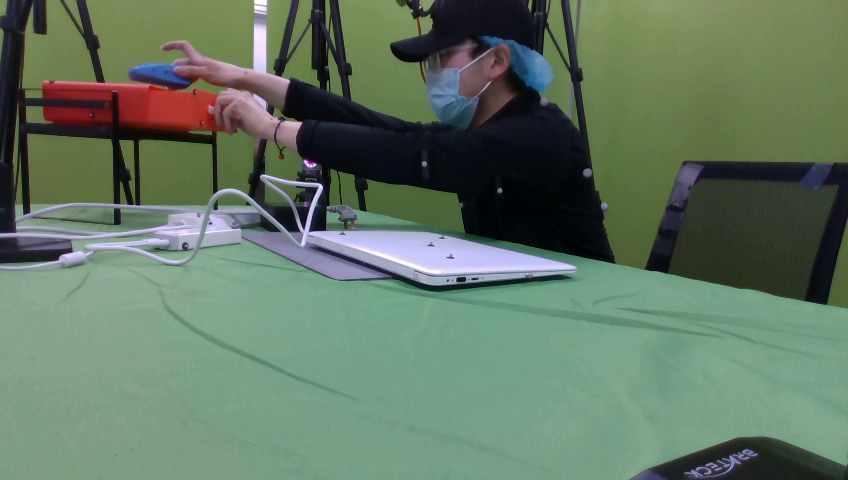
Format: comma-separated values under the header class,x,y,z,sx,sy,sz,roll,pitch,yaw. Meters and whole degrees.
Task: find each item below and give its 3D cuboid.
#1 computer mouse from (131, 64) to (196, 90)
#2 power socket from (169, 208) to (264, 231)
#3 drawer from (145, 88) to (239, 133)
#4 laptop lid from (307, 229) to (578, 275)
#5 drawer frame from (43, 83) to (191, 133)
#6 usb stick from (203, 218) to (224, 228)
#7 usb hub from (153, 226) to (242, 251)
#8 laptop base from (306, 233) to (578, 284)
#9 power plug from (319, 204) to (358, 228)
class,x,y,z,sx,sy,sz,roll,pitch,yaw
computer mouse,-0.518,-0.328,1.203,0.118,0.041,0.062,-2,6,-38
power socket,-0.381,-0.038,1.128,0.072,0.032,0.227,4,8,16
drawer,-0.508,-0.258,1.210,0.212,0.073,0.194,3,8,7
laptop lid,0.009,0.010,0.850,0.243,0.013,0.355,0,8,-32
drawer frame,-0.597,-0.263,1.217,0.213,0.082,0.201,2,8,4
usb stick,-0.346,-0.020,1.008,0.027,0.021,0.059,43,-6,1
usb hub,-0.337,-0.003,0.907,0.049,0.025,0.125,6,9,28
laptop base,0.007,0.022,0.850,0.237,0.023,0.352,1,7,-34
power plug,-0.169,-0.045,1.206,0.072,0.052,0.035,-8,-11,1
